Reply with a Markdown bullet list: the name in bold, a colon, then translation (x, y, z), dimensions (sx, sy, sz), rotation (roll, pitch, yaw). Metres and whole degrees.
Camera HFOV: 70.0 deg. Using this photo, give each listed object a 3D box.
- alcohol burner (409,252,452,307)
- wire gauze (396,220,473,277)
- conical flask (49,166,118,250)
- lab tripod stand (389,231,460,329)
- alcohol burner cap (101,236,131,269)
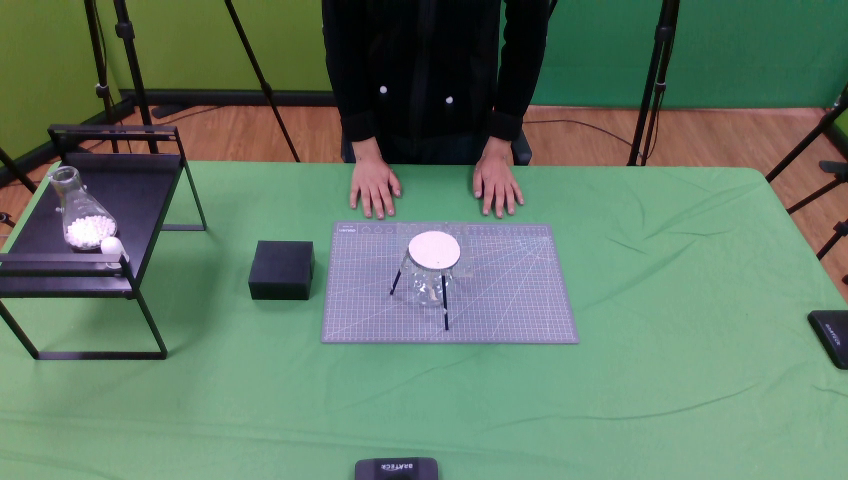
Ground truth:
- **alcohol burner**: translation (0.013, 0.063, 1.071), dimensions (0.078, 0.119, 0.077), rotation (4, 45, -3)
- **wire gauze**: translation (0.016, 0.012, 1.013), dimensions (0.125, 0.011, 0.120), rotation (1, 47, -5)
- **conical flask**: translation (-0.505, -0.051, 0.888), dimensions (0.075, 0.122, 0.075), rotation (2, 46, -2)
- **lab tripod stand**: translation (0.015, 0.063, 1.058), dimensions (0.148, 0.132, 0.147), rotation (4, 46, -4)
- **alcohol burner cap**: translation (-0.452, 0.016, 0.883), dimensions (0.034, 0.048, 0.033), rotation (2, 46, -2)
